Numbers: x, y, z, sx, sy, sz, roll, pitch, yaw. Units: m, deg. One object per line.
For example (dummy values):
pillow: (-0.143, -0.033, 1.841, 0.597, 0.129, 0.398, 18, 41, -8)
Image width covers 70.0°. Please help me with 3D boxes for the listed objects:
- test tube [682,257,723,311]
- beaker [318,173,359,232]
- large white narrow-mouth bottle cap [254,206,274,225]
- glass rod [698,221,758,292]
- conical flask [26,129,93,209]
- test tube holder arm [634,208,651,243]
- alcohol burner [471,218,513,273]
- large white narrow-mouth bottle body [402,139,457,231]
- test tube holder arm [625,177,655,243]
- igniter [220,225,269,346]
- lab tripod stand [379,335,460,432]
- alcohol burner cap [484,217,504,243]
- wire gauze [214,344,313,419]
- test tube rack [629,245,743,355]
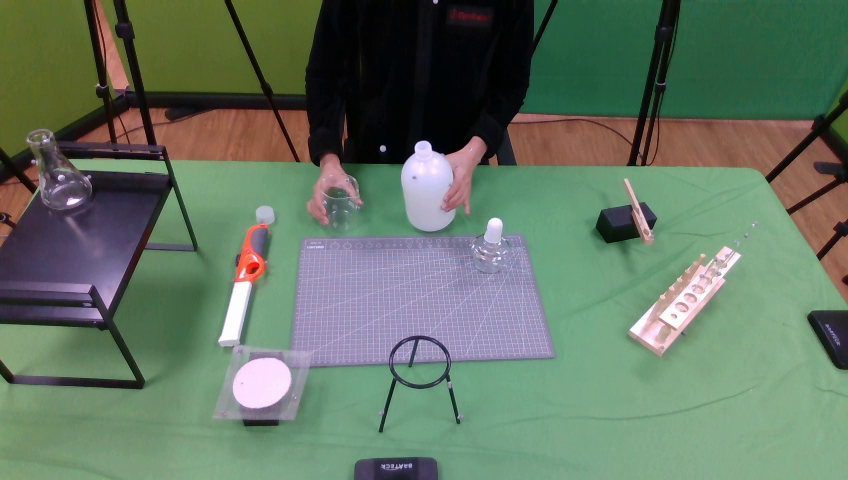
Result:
test tube: (0.475, 0.080, 1.037, 0.017, 0.151, 0.017, 1, 50, -1)
beaker: (-0.164, -0.071, 1.199, 0.084, 0.101, 0.074, 24, 50, 15)
large white narrow-mouth bottle cap: (-0.323, -0.049, 1.222, 0.038, 0.024, 0.037, 2, 47, -2)
glass rod: (0.527, 0.035, 1.060, 0.008, 0.200, 0.008, 5, 49, -6)
conical flask: (-0.575, -0.113, 0.946, 0.075, 0.122, 0.075, 2, 46, -2)
test tube holder arm: (0.428, -0.030, 1.189, 0.010, 0.015, 0.087, 2, 47, -2)
alcohol burner: (0.128, 0.005, 1.132, 0.078, 0.120, 0.077, 0, 47, 0)
large white narrow-mouth bottle body: (0.009, -0.113, 1.176, 0.102, 0.196, 0.101, -4, 50, 5)
test tube holder arm: (0.433, -0.063, 1.220, 0.013, 0.015, 0.177, 1, 47, -3)
igniter: (-0.323, 0.072, 1.100, 0.057, 0.025, 0.274, -6, 46, 5)
lab tripod stand: (-0.011, 0.214, 0.911, 0.148, 0.132, 0.147, 1, 45, 0)
alcohol burner cap: (0.129, -0.021, 1.107, 0.034, 0.048, 0.033, 4, 40, -3)
wire gauze: (-0.241, 0.213, 0.916, 0.121, 0.011, 0.124, 5, 46, 1)
test tube rack: (0.474, 0.095, 1.091, 0.242, 0.085, 0.066, -34, 56, -31)
